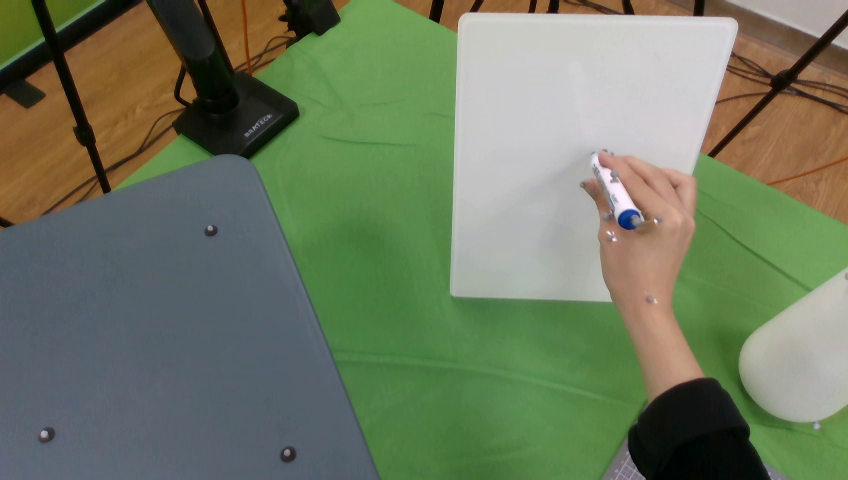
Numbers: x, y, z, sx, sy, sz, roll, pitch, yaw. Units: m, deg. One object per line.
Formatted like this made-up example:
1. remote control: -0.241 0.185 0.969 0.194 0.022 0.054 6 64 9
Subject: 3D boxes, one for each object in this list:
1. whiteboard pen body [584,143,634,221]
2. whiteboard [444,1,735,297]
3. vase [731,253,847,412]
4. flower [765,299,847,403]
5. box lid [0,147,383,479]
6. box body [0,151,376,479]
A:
1. whiteboard pen body: 0.141 -0.051 0.476 0.017 0.017 0.139 2 29 2
2. whiteboard: 0.134 -0.103 0.609 0.217 0.308 0.142 2 40 2
3. vase: 0.349 0.078 0.526 0.098 0.201 0.097 0 58 1
4. flower: 0.351 0.022 0.463 0.044 0.364 0.038 26 46 19
5. box lid: -0.209 0.094 0.453 0.263 0.015 0.368 -22 62 -13
6. box body: -0.207 0.135 0.517 0.254 0.162 0.360 -22 62 -12
